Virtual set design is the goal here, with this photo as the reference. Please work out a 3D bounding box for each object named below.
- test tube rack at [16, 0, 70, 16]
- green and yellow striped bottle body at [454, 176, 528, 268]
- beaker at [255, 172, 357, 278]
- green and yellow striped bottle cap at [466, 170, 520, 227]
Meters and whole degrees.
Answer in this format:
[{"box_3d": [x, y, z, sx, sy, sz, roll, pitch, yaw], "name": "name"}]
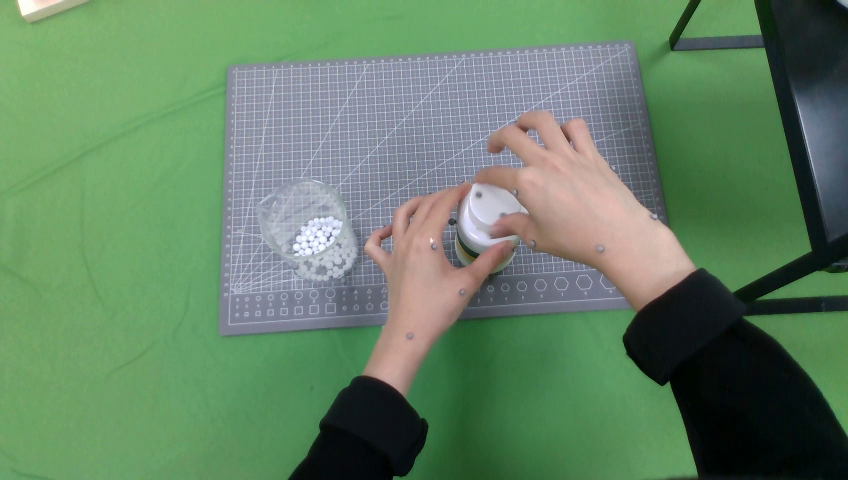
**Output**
[{"box_3d": [-0.359, -0.344, 0.673, 0.242, 0.085, 0.066, -24, 74, -6], "name": "test tube rack"}, {"box_3d": [0.059, -0.019, 0.551, 0.063, 0.120, 0.063, 0, 73, 1], "name": "green and yellow striped bottle body"}, {"box_3d": [-0.105, -0.010, 0.562, 0.084, 0.101, 0.073, 16, 73, 6], "name": "beaker"}, {"box_3d": [0.057, -0.035, 0.500, 0.045, 0.020, 0.045, 0, 75, 1], "name": "green and yellow striped bottle cap"}]
